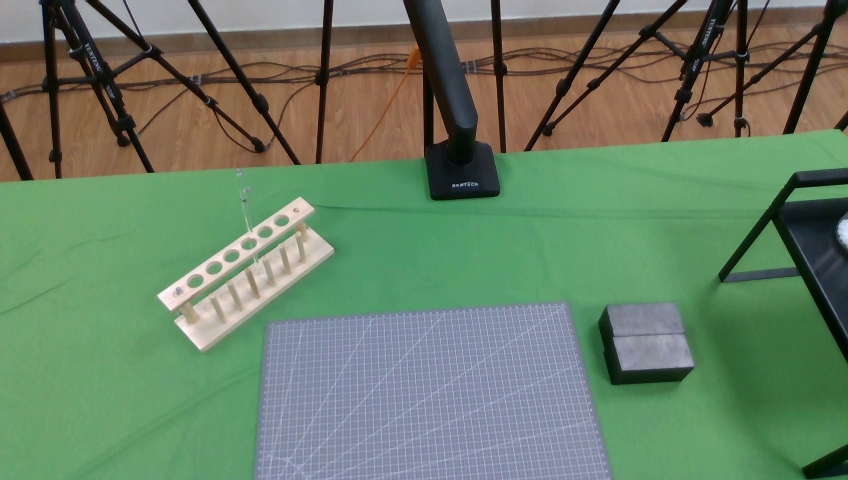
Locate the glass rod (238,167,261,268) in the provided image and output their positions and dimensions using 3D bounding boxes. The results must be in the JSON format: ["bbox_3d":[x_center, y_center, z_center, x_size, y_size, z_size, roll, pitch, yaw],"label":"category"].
[{"bbox_3d":[-0.243,-0.025,0.850,0.008,0.201,0.008,3,48,-3],"label":"glass rod"}]

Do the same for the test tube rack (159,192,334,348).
[{"bbox_3d":[-0.249,0.040,0.884,0.066,0.086,0.242,39,63,23],"label":"test tube rack"}]

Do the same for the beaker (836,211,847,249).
[{"bbox_3d":[0.557,-0.030,0.731,0.084,0.101,0.073,-8,56,-6],"label":"beaker"}]
